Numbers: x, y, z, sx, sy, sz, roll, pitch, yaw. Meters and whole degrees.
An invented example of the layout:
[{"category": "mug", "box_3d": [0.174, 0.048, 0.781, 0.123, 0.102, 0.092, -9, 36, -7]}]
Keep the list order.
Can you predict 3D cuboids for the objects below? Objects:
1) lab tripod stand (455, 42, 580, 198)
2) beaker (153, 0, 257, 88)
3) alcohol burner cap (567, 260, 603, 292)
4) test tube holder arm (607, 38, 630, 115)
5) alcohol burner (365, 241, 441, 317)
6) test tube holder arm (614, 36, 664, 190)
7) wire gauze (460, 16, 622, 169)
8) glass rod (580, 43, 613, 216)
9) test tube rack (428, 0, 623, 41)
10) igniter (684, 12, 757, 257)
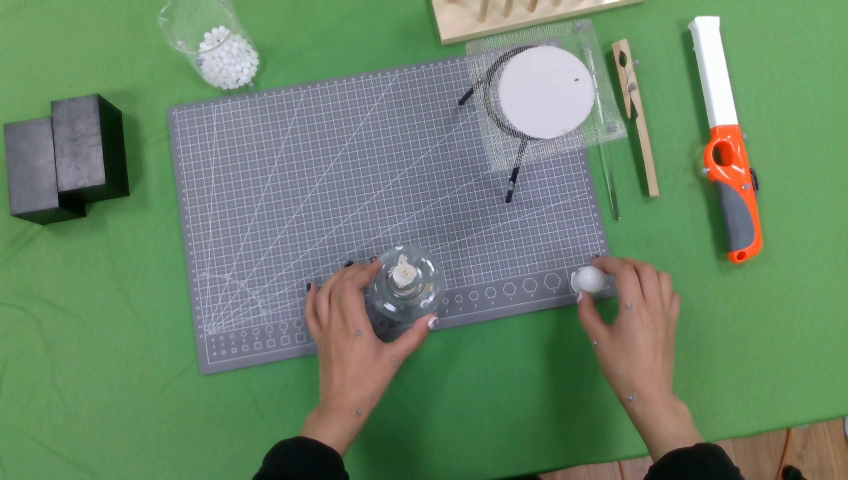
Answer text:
[{"category": "lab tripod stand", "box_3d": [0.092, -0.128, 0.609, 0.148, 0.132, 0.148, 0, 82, 2]}, {"category": "beaker", "box_3d": [-0.227, -0.212, 0.642, 0.084, 0.100, 0.073, 8, 81, 2]}, {"category": "alcohol burner cap", "box_3d": [0.167, 0.035, 0.621, 0.034, 0.048, 0.033, 0, 80, 3]}, {"category": "test tube holder arm", "box_3d": [0.221, -0.183, 0.679, 0.010, 0.015, 0.087, -18, 79, 36]}, {"category": "alcohol burner", "box_3d": [-0.022, 0.036, 0.595, 0.078, 0.119, 0.077, 0, 79, 2]}, {"category": "test tube holder arm", "box_3d": [0.235, -0.141, 0.668, 0.013, 0.015, 0.177, -20, 78, 36]}, {"category": "wire gauze", "box_3d": [0.103, -0.136, 0.542, 0.121, 0.011, 0.124, -12, 81, 0]}, {"category": "glass rod", "box_3d": [0.193, -0.124, 0.674, 0.008, 0.008, 0.199, -8, 85, -1]}, {"category": "test tube rack", "box_3d": [0.126, -0.293, 0.660, 0.242, 0.085, 0.066, -13, 81, -2]}, {"category": "igniter", "box_3d": [0.324, -0.118, 0.663, 0.057, 0.025, 0.275, -4, 81, -11]}]
